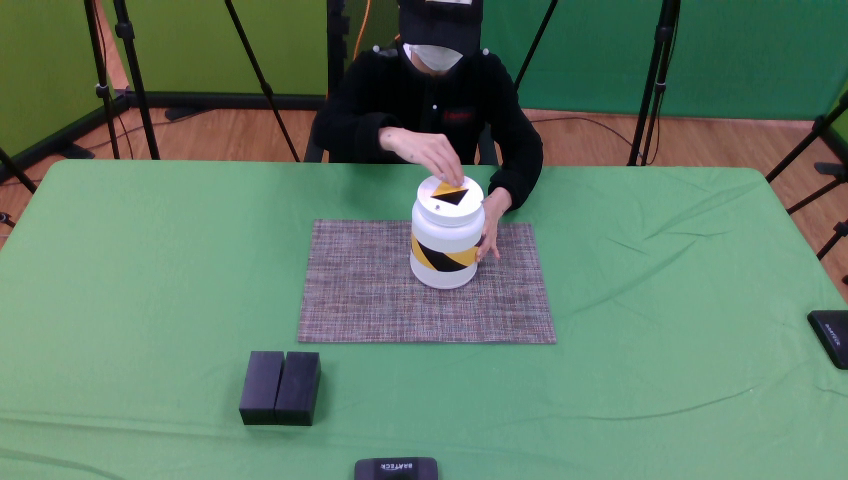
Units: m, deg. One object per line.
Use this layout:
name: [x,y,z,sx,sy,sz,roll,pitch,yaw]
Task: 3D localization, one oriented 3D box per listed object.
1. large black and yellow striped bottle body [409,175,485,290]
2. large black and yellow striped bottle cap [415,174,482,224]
large black and yellow striped bottle body: [0.040,-0.014,1.097,0.131,0.185,0.130,2,46,-2]
large black and yellow striped bottle cap: [0.042,-0.072,1.036,0.115,0.019,0.114,3,44,-2]
